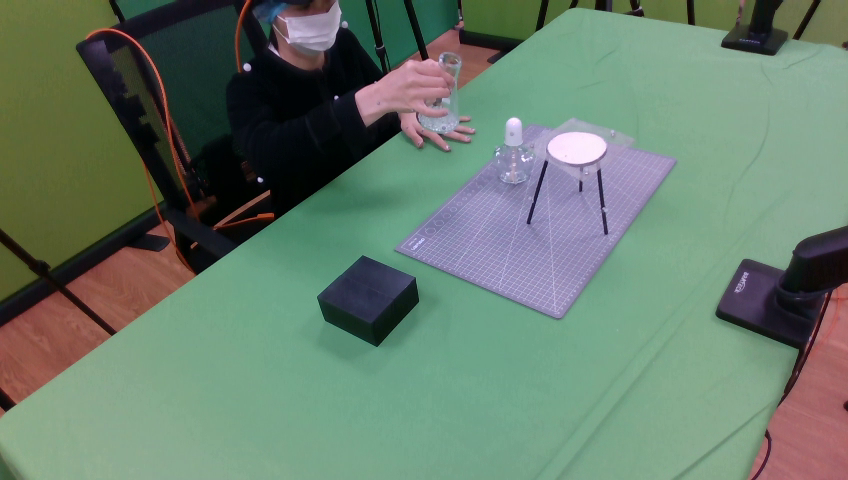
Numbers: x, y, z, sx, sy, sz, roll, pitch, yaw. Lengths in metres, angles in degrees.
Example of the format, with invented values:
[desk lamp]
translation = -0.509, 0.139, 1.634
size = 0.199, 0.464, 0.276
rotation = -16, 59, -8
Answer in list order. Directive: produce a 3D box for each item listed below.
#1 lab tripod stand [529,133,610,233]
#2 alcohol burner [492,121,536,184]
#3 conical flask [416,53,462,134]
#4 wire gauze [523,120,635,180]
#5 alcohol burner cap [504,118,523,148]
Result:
[lab tripod stand]
translation = 0.236, -0.089, 0.953
size = 0.148, 0.132, 0.147
rotation = -5, 42, 5
[alcohol burner]
translation = 0.159, -0.158, 1.064
size = 0.078, 0.119, 0.077
rotation = -3, 41, 3
[conical flask]
translation = 0.031, -0.239, 0.976
size = 0.075, 0.122, 0.075
rotation = 6, 49, -7
[wire gauze]
translation = 0.233, -0.143, 0.913
size = 0.122, 0.011, 0.124
rotation = -32, 45, -25
[alcohol burner cap]
translation = 0.154, -0.186, 1.042
size = 0.034, 0.048, 0.033
rotation = -4, 33, 3
